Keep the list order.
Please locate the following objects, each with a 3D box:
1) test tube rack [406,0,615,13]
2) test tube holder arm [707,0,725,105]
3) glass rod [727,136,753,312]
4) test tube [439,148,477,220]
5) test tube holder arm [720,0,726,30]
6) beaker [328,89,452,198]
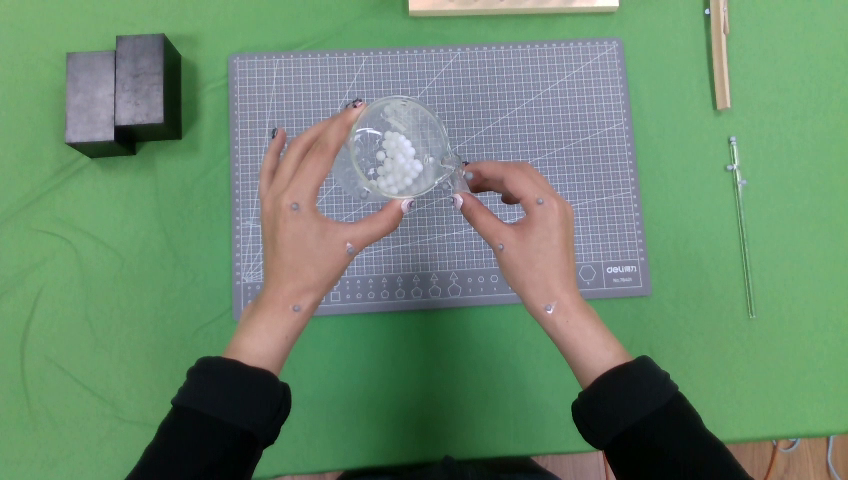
[{"bbox_3d":[0.100,-0.307,0.670,0.242,0.085,0.066,-2,81,-2],"label":"test tube rack"},{"bbox_3d":[0.337,-0.243,0.700,0.013,0.015,0.178,7,81,-30],"label":"test tube holder arm"},{"bbox_3d":[0.351,-0.020,0.675,0.008,0.008,0.199,-2,82,-2],"label":"glass rod"},{"bbox_3d":[0.032,-0.044,0.522,0.017,0.151,0.017,-2,75,10],"label":"test tube"},{"bbox_3d":[0.344,-0.287,0.709,0.010,0.015,0.087,8,80,-30],"label":"test tube holder arm"},{"bbox_3d":[-0.031,-0.069,0.475,0.084,0.100,0.074,17,86,-18],"label":"beaker"}]
